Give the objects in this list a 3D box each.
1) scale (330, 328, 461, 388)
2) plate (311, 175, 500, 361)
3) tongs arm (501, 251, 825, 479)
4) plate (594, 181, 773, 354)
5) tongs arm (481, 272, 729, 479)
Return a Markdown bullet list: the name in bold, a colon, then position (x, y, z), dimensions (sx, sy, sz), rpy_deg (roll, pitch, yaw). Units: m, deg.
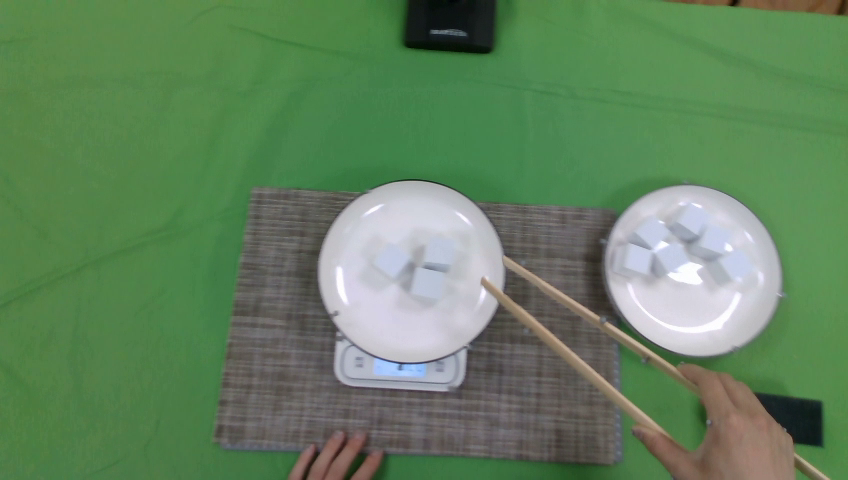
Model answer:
- **scale**: position (-0.028, 0.066, 0.702), dimensions (0.149, 0.031, 0.200), rpy_deg (4, 77, -1)
- **plate**: position (-0.020, 0.030, 0.677), dimensions (0.209, 0.038, 0.208), rpy_deg (1, 77, -2)
- **tongs arm**: position (0.214, 0.134, 0.552), dimensions (0.382, 0.027, 0.050), rpy_deg (35, 71, 20)
- **plate**: position (0.303, 0.033, 0.722), dimensions (0.208, 0.039, 0.206), rpy_deg (1, 77, -2)
- **tongs arm**: position (0.198, 0.149, 0.546), dimensions (0.384, 0.028, 0.028), rpy_deg (39, 69, 21)
